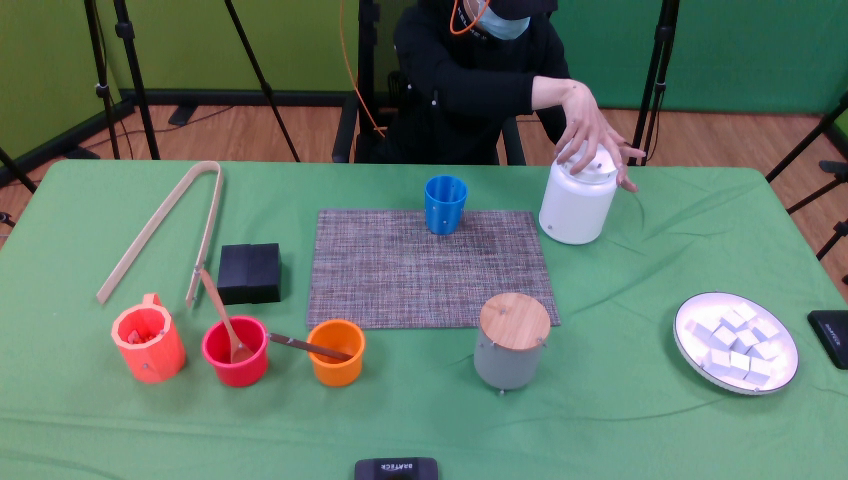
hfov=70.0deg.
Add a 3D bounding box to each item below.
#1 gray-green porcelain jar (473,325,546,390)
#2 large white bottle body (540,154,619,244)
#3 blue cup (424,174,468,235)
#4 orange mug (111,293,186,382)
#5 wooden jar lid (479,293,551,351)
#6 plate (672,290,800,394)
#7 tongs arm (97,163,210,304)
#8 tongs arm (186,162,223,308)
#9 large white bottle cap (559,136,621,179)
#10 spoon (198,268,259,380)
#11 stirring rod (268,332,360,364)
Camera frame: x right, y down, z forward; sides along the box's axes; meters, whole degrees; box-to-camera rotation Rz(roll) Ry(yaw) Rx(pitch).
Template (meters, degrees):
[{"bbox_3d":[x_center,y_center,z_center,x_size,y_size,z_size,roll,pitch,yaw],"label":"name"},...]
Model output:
[{"bbox_3d":[0.135,0.170,0.969,0.106,0.127,0.105,2,46,-2],"label":"gray-green porcelain jar"},{"bbox_3d":[0.308,-0.096,1.198,0.131,0.185,0.130,2,46,-1],"label":"large white bottle body"},{"bbox_3d":[0.039,-0.065,1.201,0.093,0.101,0.092,3,47,-3],"label":"blue cup"},{"bbox_3d":[-0.435,0.149,0.969,0.083,0.101,0.125,-5,51,-8],"label":"orange mug"},{"bbox_3d":[0.137,0.127,0.925,0.108,0.021,0.107,1,47,-1],"label":"wooden jar lid"},{"bbox_3d":[0.533,0.178,1.050,0.208,0.039,0.206,2,46,-2],"label":"plate"},{"bbox_3d":[-0.520,-0.028,1.183,0.028,0.028,0.385,5,45,12],"label":"tongs arm"},{"bbox_3d":[-0.436,-0.024,1.181,0.051,0.026,0.382,-2,45,0],"label":"tongs arm"},{"bbox_3d":[0.311,-0.156,1.136,0.115,0.018,0.114,2,46,-2],"label":"large white bottle cap"},{"bbox_3d":[-0.312,0.132,0.962,0.041,0.021,0.194,-24,96,-22],"label":"spoon"},{"bbox_3d":[-0.167,0.169,0.942,0.177,0.006,0.014,26,26,-41],"label":"stirring rod"}]
